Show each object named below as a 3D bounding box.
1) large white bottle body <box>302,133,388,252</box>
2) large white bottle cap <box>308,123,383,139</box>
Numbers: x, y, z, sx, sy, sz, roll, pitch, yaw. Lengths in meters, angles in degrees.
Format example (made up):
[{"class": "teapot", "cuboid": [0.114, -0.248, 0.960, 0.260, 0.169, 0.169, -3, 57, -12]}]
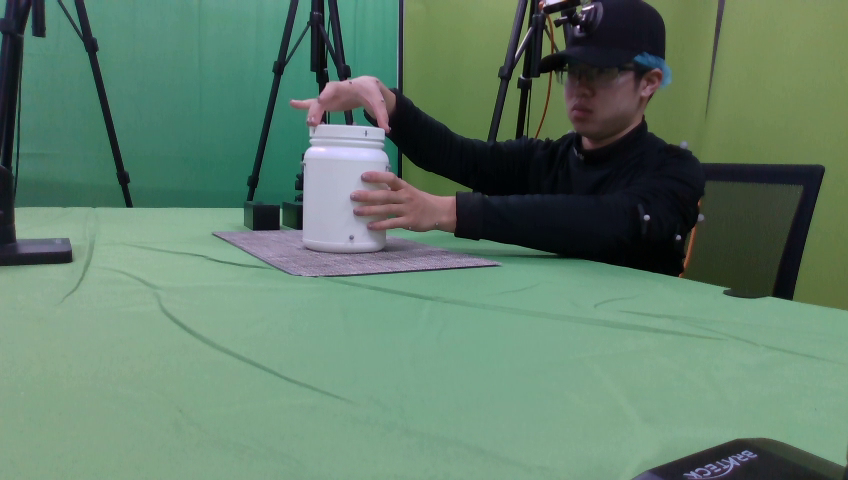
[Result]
[{"class": "large white bottle body", "cuboid": [-0.122, -0.080, 0.937, 0.131, 0.184, 0.130, 2, 7, 0]}, {"class": "large white bottle cap", "cuboid": [-0.119, -0.166, 0.927, 0.115, 0.018, 0.115, 2, 7, 0]}]
